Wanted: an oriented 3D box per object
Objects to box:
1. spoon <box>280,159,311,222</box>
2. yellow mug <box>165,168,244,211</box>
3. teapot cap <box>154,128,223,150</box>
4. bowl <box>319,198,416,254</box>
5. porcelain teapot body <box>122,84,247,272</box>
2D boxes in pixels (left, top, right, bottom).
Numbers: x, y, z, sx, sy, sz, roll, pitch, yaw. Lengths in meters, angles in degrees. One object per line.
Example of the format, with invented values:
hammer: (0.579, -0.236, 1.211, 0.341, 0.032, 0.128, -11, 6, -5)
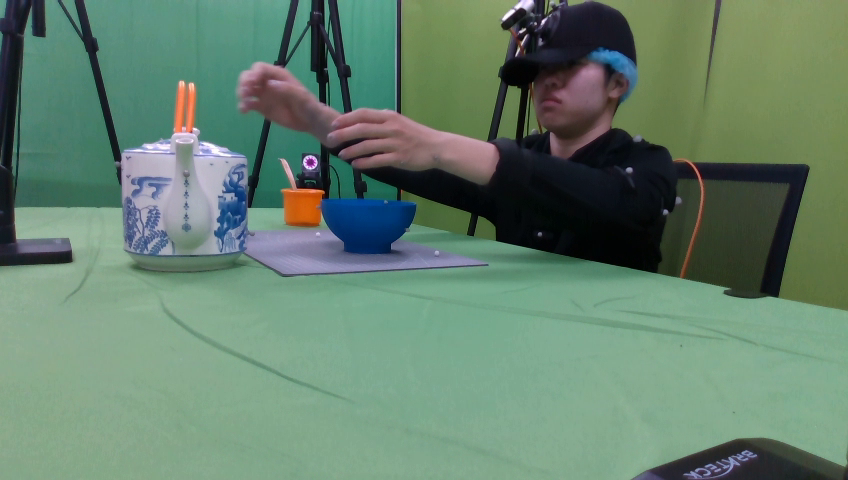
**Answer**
spoon: (-0.285, -0.111, 1.320, 0.042, 0.193, 0.021, -3, -35, -31)
yellow mug: (-0.370, -0.086, 1.028, 0.131, 0.064, 0.100, 5, 8, 4)
teapot cap: (-0.294, -0.117, 0.754, 0.085, 0.044, 0.085, 4, 9, 0)
bowl: (-0.089, -0.022, 0.941, 0.151, 0.077, 0.151, 2, 8, 0)
porcelain teapot body: (-0.286, -0.075, 0.733, 0.146, 0.225, 0.204, 0, 8, -24)
